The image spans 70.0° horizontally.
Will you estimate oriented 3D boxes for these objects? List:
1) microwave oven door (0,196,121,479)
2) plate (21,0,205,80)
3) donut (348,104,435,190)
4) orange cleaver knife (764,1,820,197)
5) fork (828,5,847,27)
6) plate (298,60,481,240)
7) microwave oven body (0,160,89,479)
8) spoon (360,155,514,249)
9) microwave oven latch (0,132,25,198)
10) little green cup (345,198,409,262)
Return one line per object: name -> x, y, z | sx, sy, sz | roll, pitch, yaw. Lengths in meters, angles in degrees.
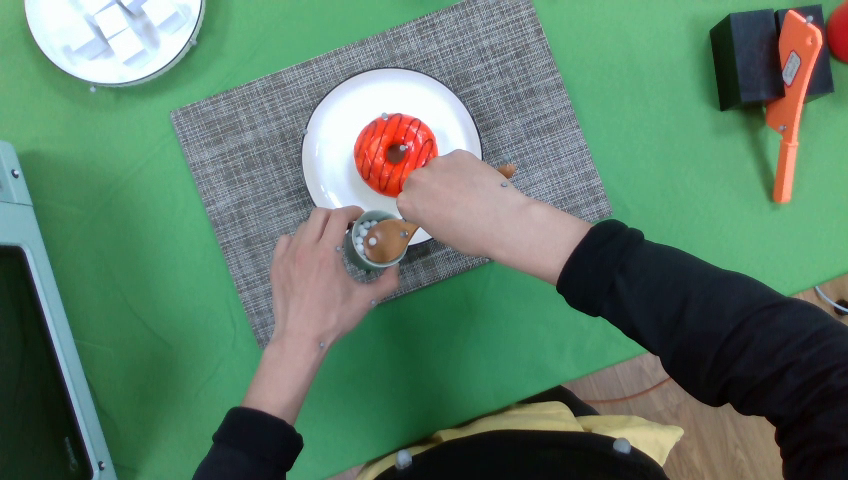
microwave oven door -> -0.417, 0.123, 0.583 | 0.039, 0.244, 0.355 | -18, 89, 0
plate -> -0.356, -0.287, 0.706 | 0.208, 0.039, 0.207 | 0, 89, 0
donut -> -0.036, -0.105, 0.690 | 0.099, 0.048, 0.099 | 0, 92, 1
orange cleaver knife -> 0.405, -0.154, 0.684 | 0.012, 0.076, 0.213 | -6, 119, 2
fork -> 0.558, -0.254, 0.653 | 0.206, 0.019, 0.028 | 8, 87, 42
plate -> -0.039, -0.101, 0.701 | 0.209, 0.038, 0.209 | 0, 90, 0
microwave oven body -> -0.569, 0.127, 0.588 | 0.326, 0.260, 0.441 | -18, 90, -1
spoon -> 0.006, -0.031, 0.564 | 0.193, 0.022, 0.041 | -27, 80, 41
microwave oven latch -> -0.482, -0.085, 0.685 | 0.030, 0.029, 0.079 | -17, 90, -1
little green cup -> -0.050, -0.008, 0.622 | 0.062, 0.039, 0.061 | 14, 59, -24
